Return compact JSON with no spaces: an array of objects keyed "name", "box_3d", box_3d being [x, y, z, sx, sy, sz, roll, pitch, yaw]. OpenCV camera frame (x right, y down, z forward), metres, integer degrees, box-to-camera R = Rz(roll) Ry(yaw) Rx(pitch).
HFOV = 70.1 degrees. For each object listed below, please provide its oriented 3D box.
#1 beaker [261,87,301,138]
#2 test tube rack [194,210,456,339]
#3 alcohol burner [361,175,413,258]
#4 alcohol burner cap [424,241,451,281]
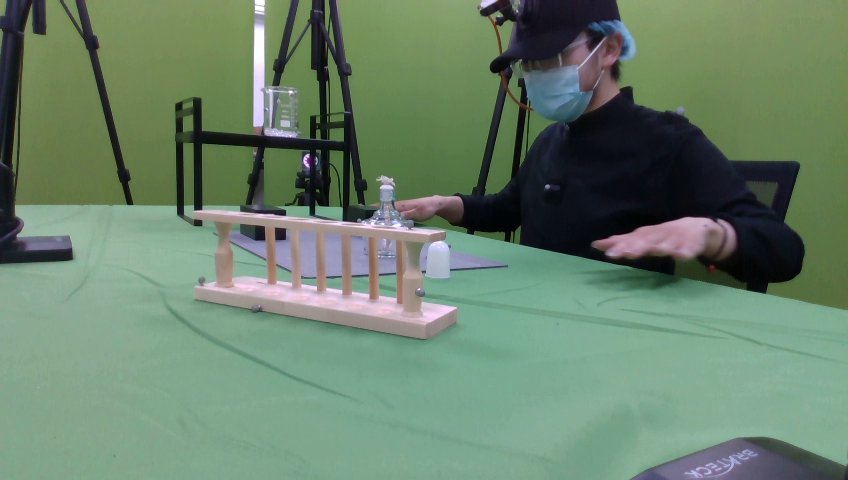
[{"name":"beaker","box_3d":[-0.298,-0.263,1.255,0.084,0.100,0.073,-5,10,-40]},{"name":"test tube rack","box_3d":[-0.093,0.023,0.545,0.241,0.085,0.067,6,8,25]},{"name":"alcohol burner","box_3d":[-0.054,-0.034,0.871,0.078,0.119,0.078,1,8,0]},{"name":"alcohol burner cap","box_3d":[0.018,0.024,0.748,0.034,0.048,0.034,3,9,0]}]
